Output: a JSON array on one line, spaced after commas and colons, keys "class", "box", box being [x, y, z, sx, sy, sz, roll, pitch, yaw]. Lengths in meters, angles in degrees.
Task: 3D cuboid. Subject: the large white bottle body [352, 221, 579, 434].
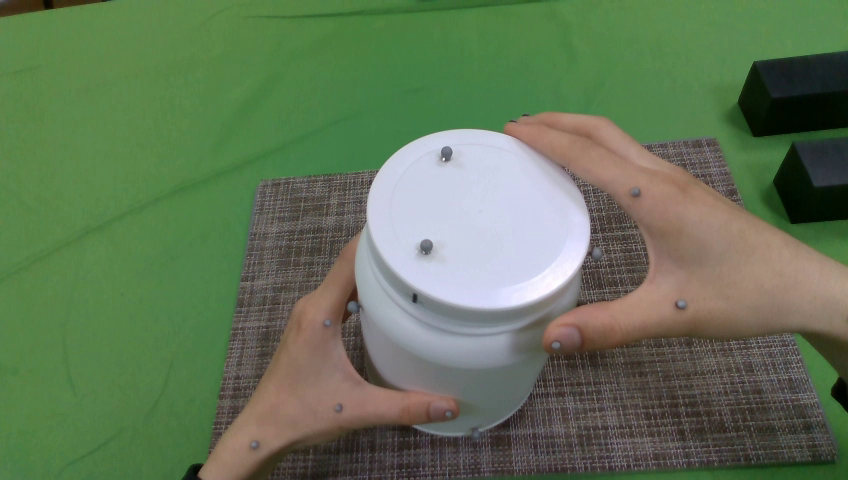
[{"class": "large white bottle body", "box": [0.022, 0.036, 0.386, 0.131, 0.186, 0.129, 1, 57, -2]}]

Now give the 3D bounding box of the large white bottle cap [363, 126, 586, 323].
[{"class": "large white bottle cap", "box": [0.026, -0.012, 0.311, 0.115, 0.018, 0.114, 4, 57, -5]}]
